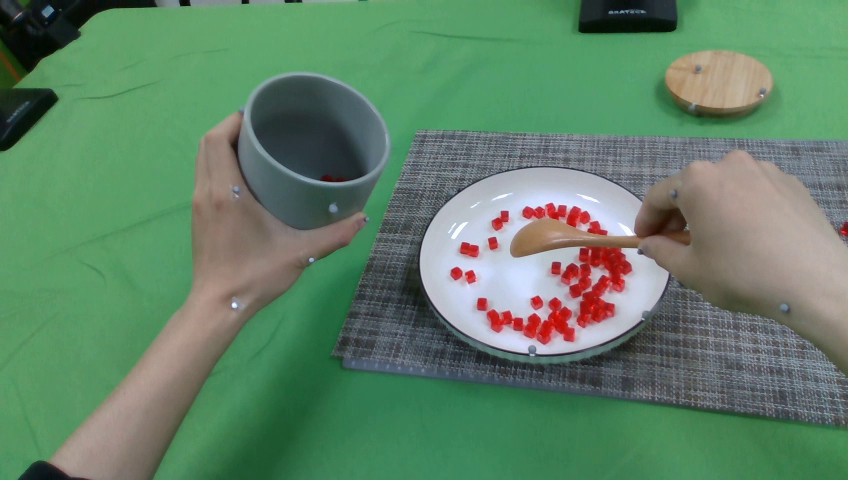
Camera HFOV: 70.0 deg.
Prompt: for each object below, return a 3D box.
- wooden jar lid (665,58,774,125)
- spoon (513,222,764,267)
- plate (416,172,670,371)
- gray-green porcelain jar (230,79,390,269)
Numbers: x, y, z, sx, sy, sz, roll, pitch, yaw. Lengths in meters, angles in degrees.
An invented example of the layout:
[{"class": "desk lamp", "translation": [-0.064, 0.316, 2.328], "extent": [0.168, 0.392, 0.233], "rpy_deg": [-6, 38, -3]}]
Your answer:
[{"class": "wooden jar lid", "translation": [0.320, -0.161, 0.661], "extent": [0.108, 0.021, 0.107], "rpy_deg": [-5, 49, 6]}, {"class": "spoon", "translation": [0.140, 0.004, 0.434], "extent": [0.192, 0.022, 0.041], "rpy_deg": [1, 55, 44]}, {"class": "plate", "translation": [0.098, 0.025, 0.519], "extent": [0.207, 0.039, 0.205], "rpy_deg": [-5, 48, 6]}, {"class": "gray-green porcelain jar", "translation": [-0.096, -0.044, 0.482], "extent": [0.106, 0.127, 0.105], "rpy_deg": [12, 54, -17]}]
